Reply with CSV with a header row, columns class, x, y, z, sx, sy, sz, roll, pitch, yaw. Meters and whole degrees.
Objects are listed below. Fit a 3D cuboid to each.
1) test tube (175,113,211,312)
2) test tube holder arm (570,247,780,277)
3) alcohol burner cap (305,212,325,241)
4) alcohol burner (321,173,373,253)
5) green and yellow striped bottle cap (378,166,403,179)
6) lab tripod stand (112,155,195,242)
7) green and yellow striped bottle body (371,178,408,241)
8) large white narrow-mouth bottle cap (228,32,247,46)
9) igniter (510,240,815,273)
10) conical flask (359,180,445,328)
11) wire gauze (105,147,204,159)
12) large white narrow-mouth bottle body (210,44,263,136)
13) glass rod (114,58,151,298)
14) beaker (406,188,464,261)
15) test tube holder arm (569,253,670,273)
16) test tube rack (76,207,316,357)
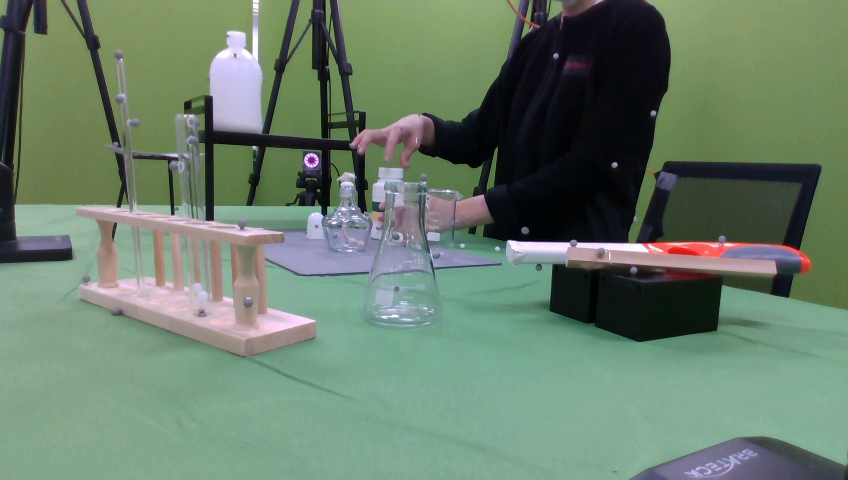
class,x,y,z,sx,sy,sz,roll,pitch,yaw
test tube,-0.174,-0.020,0.458,0.017,0.150,0.017,-3,5,1
test tube holder arm,0.217,0.019,0.525,0.178,0.015,0.013,3,-23,3
alcohol burner cap,-0.185,-0.023,1.027,0.034,0.048,0.034,2,7,0
alcohol burner,-0.115,-0.041,0.905,0.078,0.119,0.078,1,6,0
green and yellow striped bottle cap,-0.058,-0.117,1.052,0.045,0.020,0.045,4,8,0
lab tripod stand,-0.405,-0.064,0.931,0.148,0.131,0.148,1,6,0
green and yellow striped bottle body,-0.059,-0.061,1.059,0.063,0.119,0.063,3,7,0
large white narrow-mouth bottle cap,-0.364,-0.390,1.180,0.038,0.024,0.037,3,8,0
igniter,0.220,0.015,0.565,0.277,0.025,0.057,2,16,0
conical flask,-0.017,0.010,0.522,0.075,0.122,0.075,2,7,0
wire gauze,-0.407,-0.131,0.928,0.125,0.011,0.121,2,6,-11
large white narrow-mouth bottle body,-0.369,-0.305,1.194,0.102,0.194,0.102,3,8,0
glass rod,-0.236,-0.044,0.492,0.008,0.199,0.008,1,15,0
beaker,0.014,-0.023,0.870,0.084,0.100,0.074,2,8,-4
test tube holder arm,0.172,0.019,0.532,0.088,0.015,0.010,3,-23,3
test tube rack,-0.196,0.023,0.500,0.241,0.085,0.067,8,9,36
